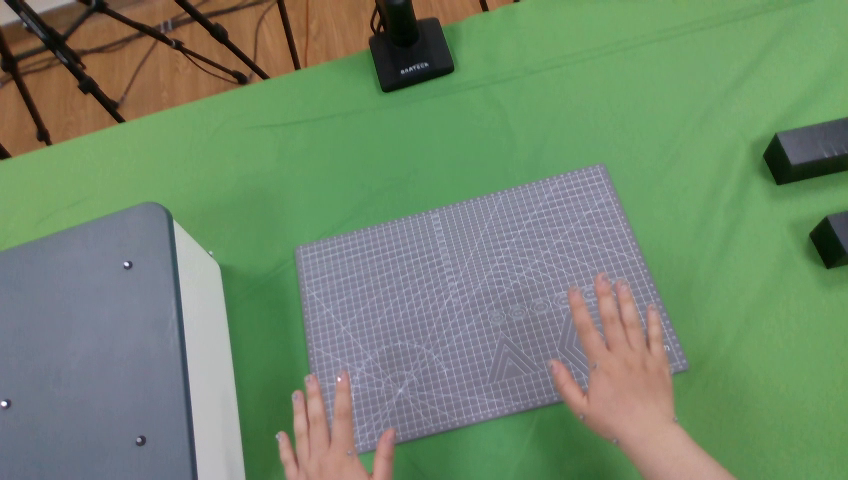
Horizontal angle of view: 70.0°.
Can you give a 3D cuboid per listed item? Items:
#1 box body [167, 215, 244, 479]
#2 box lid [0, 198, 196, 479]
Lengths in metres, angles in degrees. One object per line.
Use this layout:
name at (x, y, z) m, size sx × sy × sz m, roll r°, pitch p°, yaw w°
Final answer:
box body at (-0.378, 0.170, 0.726) m, size 0.254 × 0.162 × 0.360 m, roll -18°, pitch 64°, yaw 1°
box lid at (-0.390, 0.138, 0.660) m, size 0.263 × 0.015 × 0.368 m, roll -18°, pitch 65°, yaw 1°
